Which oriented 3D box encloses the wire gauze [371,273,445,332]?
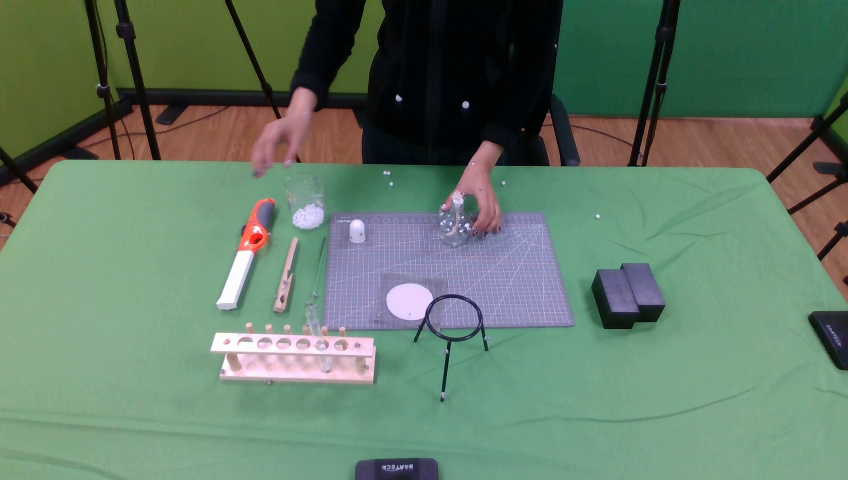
[{"bbox_3d":[-0.028,0.108,1.100,0.125,0.011,0.121,7,45,4],"label":"wire gauze"}]

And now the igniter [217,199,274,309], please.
[{"bbox_3d":[-0.336,0.017,1.152,0.057,0.025,0.275,-2,45,8],"label":"igniter"}]

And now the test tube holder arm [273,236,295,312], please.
[{"bbox_3d":[-0.259,0.059,1.123,0.013,0.015,0.177,27,39,-27],"label":"test tube holder arm"}]

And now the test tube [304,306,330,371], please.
[{"bbox_3d":[-0.162,0.153,0.925,0.017,0.151,0.017,-2,44,2],"label":"test tube"}]

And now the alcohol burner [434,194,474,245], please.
[{"bbox_3d":[0.061,-0.046,1.183,0.078,0.119,0.077,3,46,-3],"label":"alcohol burner"}]

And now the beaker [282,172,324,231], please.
[{"bbox_3d":[-0.234,-0.073,1.199,0.084,0.101,0.074,24,49,17],"label":"beaker"}]

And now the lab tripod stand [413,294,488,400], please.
[{"bbox_3d":[0.044,0.159,0.972,0.148,0.132,0.147,2,44,-2],"label":"lab tripod stand"}]

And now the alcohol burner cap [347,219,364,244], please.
[{"bbox_3d":[-0.135,-0.019,1.190,0.034,0.048,0.033,3,46,-3],"label":"alcohol burner cap"}]

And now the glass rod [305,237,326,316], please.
[{"bbox_3d":[-0.202,0.064,1.131,0.008,0.008,0.198,4,44,0],"label":"glass rod"}]

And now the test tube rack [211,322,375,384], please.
[{"bbox_3d":[-0.202,0.176,0.969,0.242,0.085,0.066,3,46,-2],"label":"test tube rack"}]

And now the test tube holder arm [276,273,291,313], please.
[{"bbox_3d":[-0.254,0.093,1.094,0.010,0.015,0.087,28,39,-26],"label":"test tube holder arm"}]
